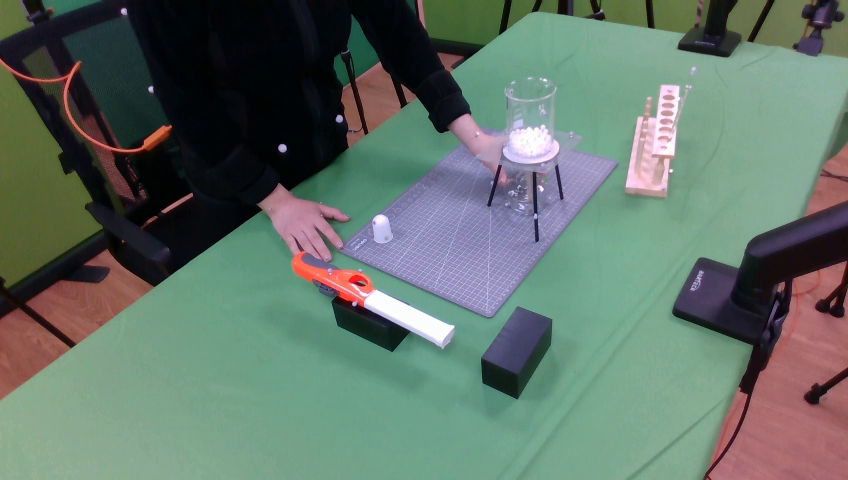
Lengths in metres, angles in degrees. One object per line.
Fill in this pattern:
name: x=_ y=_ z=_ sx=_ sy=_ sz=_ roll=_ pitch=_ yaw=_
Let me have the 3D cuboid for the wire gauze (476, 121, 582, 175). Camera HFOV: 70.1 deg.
wire gauze: x=0.162 y=-0.141 z=0.929 sx=0.120 sy=0.011 sz=0.125 roll=19 pitch=49 yaw=32

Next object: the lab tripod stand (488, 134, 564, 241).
lab tripod stand: x=0.168 y=-0.092 z=0.972 sx=0.148 sy=0.132 sz=0.147 roll=-5 pitch=41 yaw=5

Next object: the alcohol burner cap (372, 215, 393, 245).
alcohol burner cap: x=-0.070 y=-0.019 z=0.990 sx=0.034 sy=0.048 sz=0.033 roll=-4 pitch=41 yaw=4

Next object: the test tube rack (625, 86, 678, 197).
test tube rack: x=0.412 y=-0.184 z=1.088 sx=0.066 sy=0.085 sz=0.242 roll=9 pitch=43 yaw=18

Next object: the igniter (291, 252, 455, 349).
igniter: x=-0.080 y=0.076 z=0.822 sx=0.274 sy=0.025 sz=0.057 roll=23 pitch=46 yaw=27

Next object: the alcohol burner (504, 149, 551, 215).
alcohol burner: x=0.170 y=-0.100 z=0.996 sx=0.078 sy=0.119 sz=0.077 roll=-5 pitch=42 yaw=5

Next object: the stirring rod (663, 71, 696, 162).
stirring rod: x=0.410 y=-0.195 z=0.981 sx=0.014 sy=0.177 sz=0.006 roll=11 pitch=50 yaw=13

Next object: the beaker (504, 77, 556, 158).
beaker: x=0.160 y=-0.181 z=0.900 sx=0.084 sy=0.101 sz=0.073 roll=-33 pitch=46 yaw=-27
